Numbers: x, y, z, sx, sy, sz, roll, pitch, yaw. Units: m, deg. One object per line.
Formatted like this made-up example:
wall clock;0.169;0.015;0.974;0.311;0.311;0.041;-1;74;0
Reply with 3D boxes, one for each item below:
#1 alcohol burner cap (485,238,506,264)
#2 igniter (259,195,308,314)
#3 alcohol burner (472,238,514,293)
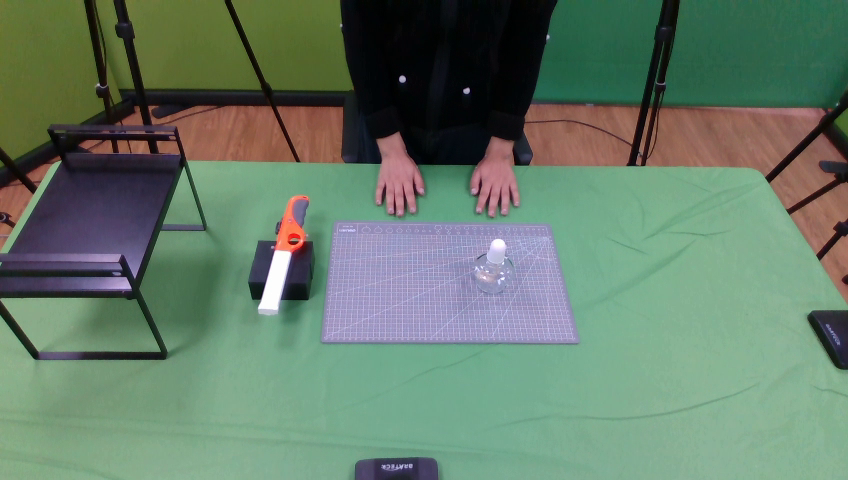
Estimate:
alcohol burner cap;0.129;0.016;1.076;0.034;0.048;0.033;3;53;-4
igniter;-0.252;0.016;1.094;0.057;0.025;0.275;6;48;-3
alcohol burner;0.128;0.041;1.101;0.078;0.120;0.077;1;47;-1
